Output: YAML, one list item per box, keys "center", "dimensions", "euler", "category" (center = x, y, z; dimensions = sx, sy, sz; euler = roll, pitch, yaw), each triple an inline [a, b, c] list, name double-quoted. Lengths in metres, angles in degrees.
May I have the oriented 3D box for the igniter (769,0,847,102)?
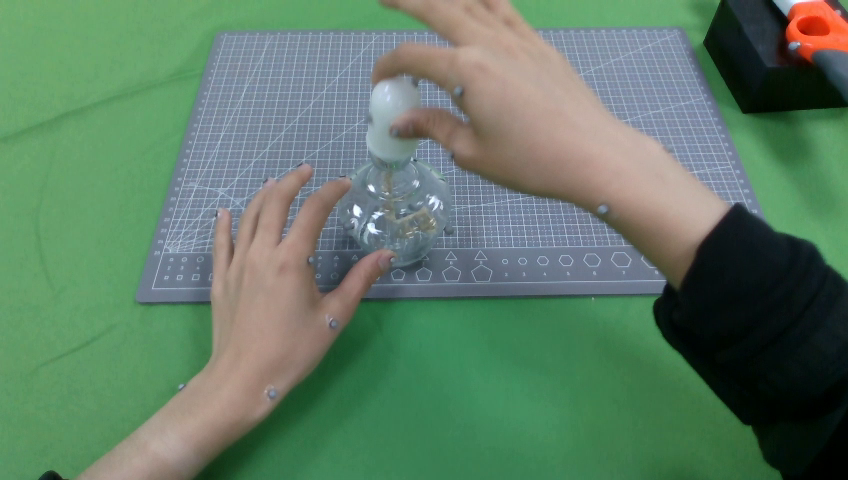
- center: [0.316, -0.187, 0.503]
  dimensions: [0.057, 0.025, 0.273]
  euler: [-7, 53, -2]
  category: "igniter"

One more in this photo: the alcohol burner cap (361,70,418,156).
- center: [-0.019, -0.075, 0.346]
  dimensions: [0.034, 0.048, 0.033]
  euler: [4, 55, -5]
  category: "alcohol burner cap"

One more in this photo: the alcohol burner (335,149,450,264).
- center: [-0.022, -0.037, 0.396]
  dimensions: [0.078, 0.120, 0.077]
  euler: [0, 56, 1]
  category: "alcohol burner"
